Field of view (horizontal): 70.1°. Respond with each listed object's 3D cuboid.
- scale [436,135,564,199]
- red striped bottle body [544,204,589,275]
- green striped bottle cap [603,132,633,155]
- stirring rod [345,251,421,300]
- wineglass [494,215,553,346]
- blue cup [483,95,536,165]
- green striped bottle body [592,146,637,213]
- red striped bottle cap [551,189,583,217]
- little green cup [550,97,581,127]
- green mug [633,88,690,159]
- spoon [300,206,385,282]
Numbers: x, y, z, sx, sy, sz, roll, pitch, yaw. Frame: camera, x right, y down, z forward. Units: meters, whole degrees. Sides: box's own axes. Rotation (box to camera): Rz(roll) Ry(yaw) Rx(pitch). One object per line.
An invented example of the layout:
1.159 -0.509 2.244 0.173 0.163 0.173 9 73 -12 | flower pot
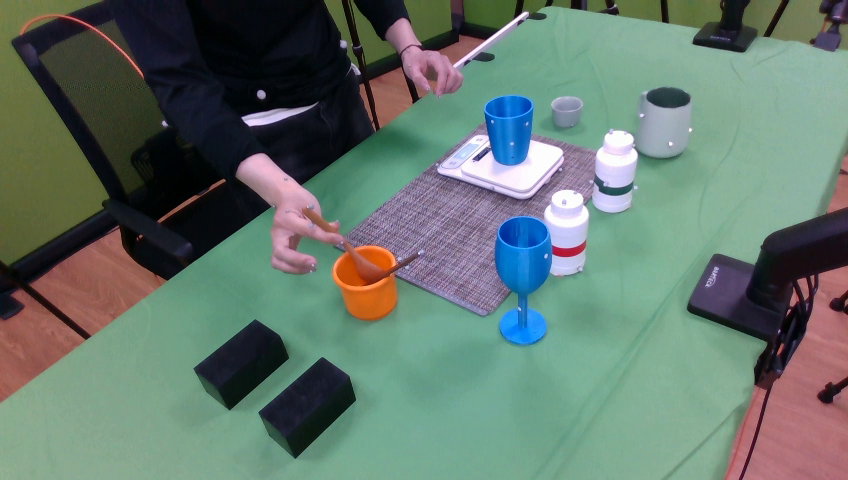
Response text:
0.137 -0.142 1.101 0.199 0.032 0.149 22 48 30 | scale
0.206 -0.011 0.877 0.063 0.120 0.062 -5 41 4 | red striped bottle body
0.302 -0.149 0.939 0.044 0.020 0.044 -3 40 3 | green striped bottle cap
-0.060 0.051 0.829 0.175 0.006 0.014 -32 18 44 | stirring rod
0.127 0.055 0.770 0.074 0.173 0.073 -4 40 4 | wineglass
0.149 -0.188 1.053 0.092 0.100 0.092 -6 39 5 | blue cup
0.307 -0.108 0.976 0.063 0.120 0.063 -4 41 4 | green striped bottle body
0.200 -0.052 0.843 0.044 0.018 0.044 -2 42 3 | red striped bottle cap
0.284 -0.255 1.213 0.061 0.039 0.061 -5 41 5 | little green cup
0.423 -0.217 1.099 0.093 0.105 0.124 -16 41 -10 | green mug
-0.109 0.010 0.819 0.041 0.195 0.021 -17 48 22 | spoon
